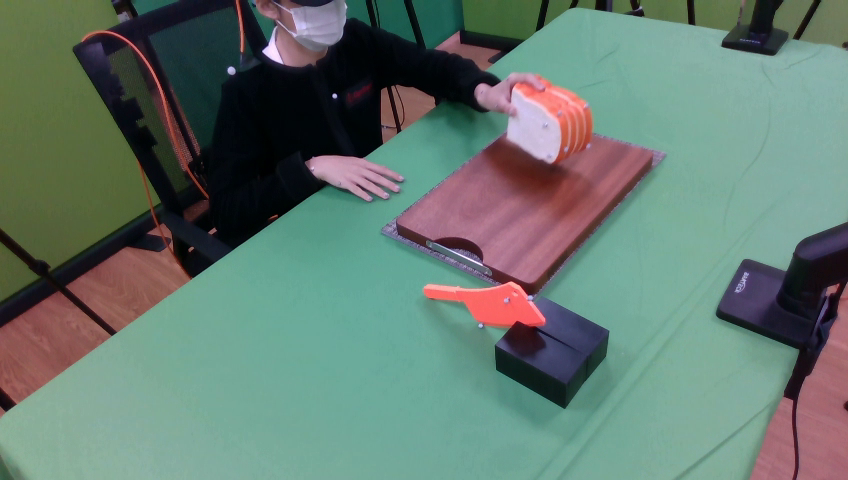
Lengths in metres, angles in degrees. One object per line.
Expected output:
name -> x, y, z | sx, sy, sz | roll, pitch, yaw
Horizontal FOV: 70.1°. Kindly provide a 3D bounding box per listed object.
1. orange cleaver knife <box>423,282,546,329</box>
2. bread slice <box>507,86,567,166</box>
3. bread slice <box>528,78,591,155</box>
orange cleaver knife -> 0.076, 0.087, 0.814 | 0.012, 0.077, 0.210 | -40, 22, -31
bread slice -> 0.185, -0.183, 1.006 | 0.019, 0.105, 0.130 | -26, 48, -24
bread slice -> 0.226, -0.201, 1.031 | 0.018, 0.107, 0.133 | -31, 53, -25
